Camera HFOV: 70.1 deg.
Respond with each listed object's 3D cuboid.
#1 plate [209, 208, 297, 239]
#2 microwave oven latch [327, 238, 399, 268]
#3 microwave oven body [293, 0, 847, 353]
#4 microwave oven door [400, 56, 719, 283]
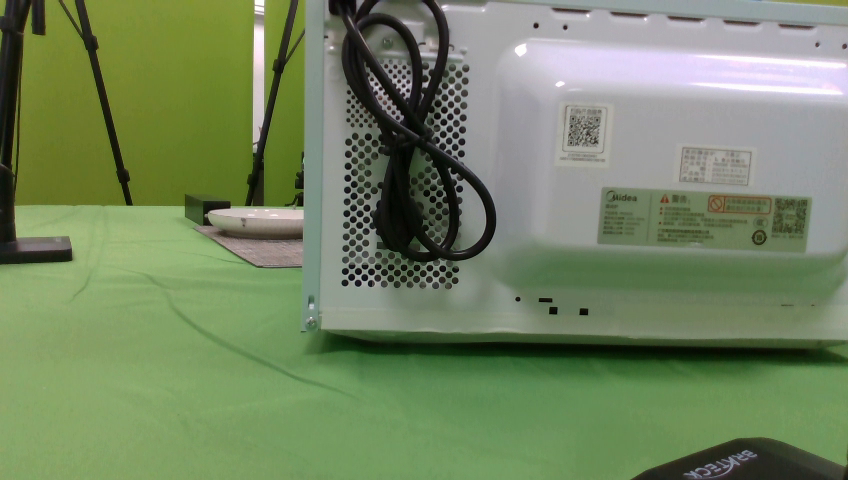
[{"bbox_3d":[-0.271,-0.029,1.073,0.208,0.039,0.207,3,7,0],"label":"plate"},{"bbox_3d":[-0.069,0.015,0.694,0.079,0.029,0.030,3,7,-2],"label":"microwave oven latch"},{"bbox_3d":[0.122,-0.055,0.550,0.442,0.260,0.325,3,7,-5],"label":"microwave oven body"},{"bbox_3d":[0.155,-0.077,0.697,0.356,0.243,0.039,2,8,-5],"label":"microwave oven door"}]
